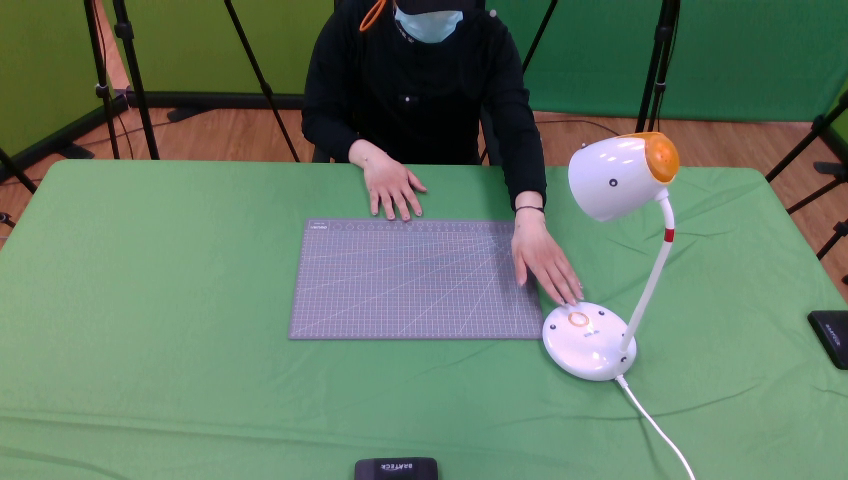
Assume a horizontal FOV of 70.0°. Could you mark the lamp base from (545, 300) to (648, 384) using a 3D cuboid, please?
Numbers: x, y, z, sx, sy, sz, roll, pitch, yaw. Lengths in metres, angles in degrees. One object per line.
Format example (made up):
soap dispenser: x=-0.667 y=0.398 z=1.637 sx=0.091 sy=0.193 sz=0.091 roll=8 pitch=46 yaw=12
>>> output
lamp base: x=0.299 y=0.124 z=0.984 sx=0.161 sy=0.181 sz=0.178 roll=-23 pitch=55 yaw=-23

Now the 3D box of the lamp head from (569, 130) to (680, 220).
lamp head: x=0.272 y=-0.089 z=0.798 sx=0.113 sy=0.122 sz=0.112 roll=7 pitch=78 yaw=-33
